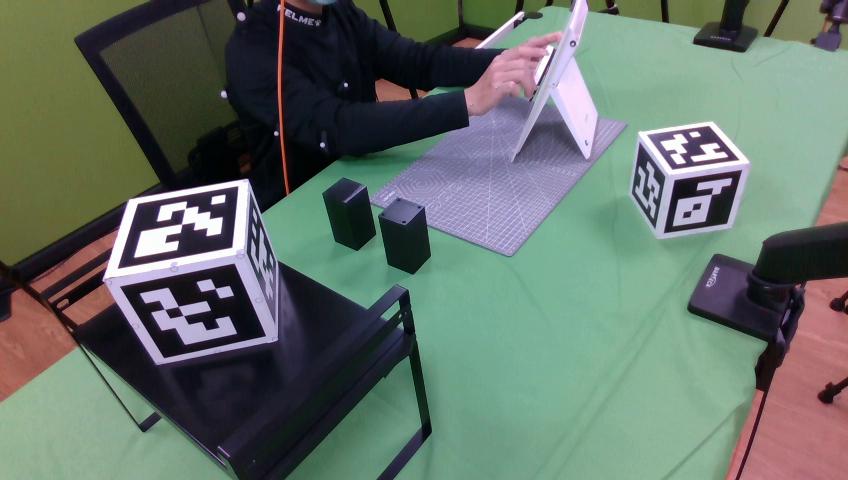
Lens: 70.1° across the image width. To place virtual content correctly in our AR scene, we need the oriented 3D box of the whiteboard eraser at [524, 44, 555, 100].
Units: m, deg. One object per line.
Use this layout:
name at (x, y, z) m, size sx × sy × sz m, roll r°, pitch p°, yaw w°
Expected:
whiteboard eraser at (0.206, -0.301, 1.082) m, size 0.019 × 0.101 × 0.041 m, roll 23°, pitch 31°, yaw 2°

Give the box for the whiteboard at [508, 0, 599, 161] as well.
whiteboard at (0.286, -0.289, 1.089) m, size 0.144 × 0.305 × 0.217 m, roll 22°, pitch 45°, yaw 3°
